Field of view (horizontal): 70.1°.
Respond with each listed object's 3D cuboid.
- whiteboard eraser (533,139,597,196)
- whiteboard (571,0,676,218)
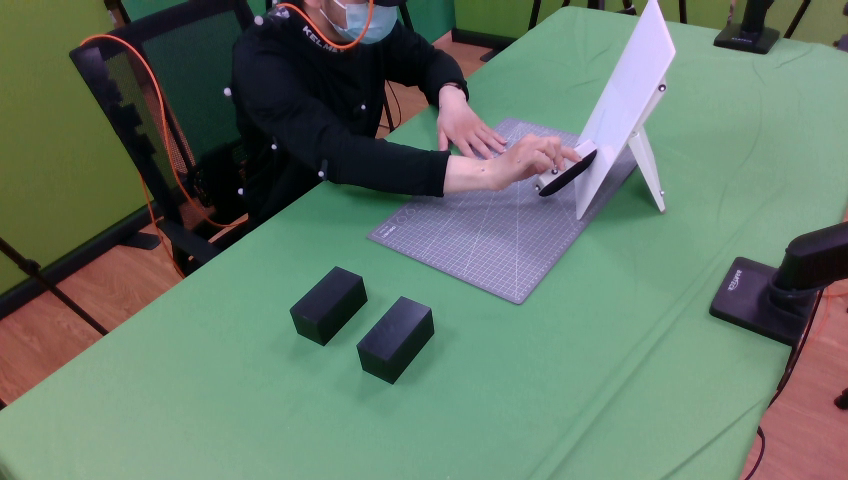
[{"bbox_3d":[0.235,-0.118,0.996,0.113,0.055,0.042,-38,83,-9],"label":"whiteboard eraser"},{"bbox_3d":[0.364,-0.187,0.964,0.144,0.305,0.216,18,42,-3],"label":"whiteboard"}]
